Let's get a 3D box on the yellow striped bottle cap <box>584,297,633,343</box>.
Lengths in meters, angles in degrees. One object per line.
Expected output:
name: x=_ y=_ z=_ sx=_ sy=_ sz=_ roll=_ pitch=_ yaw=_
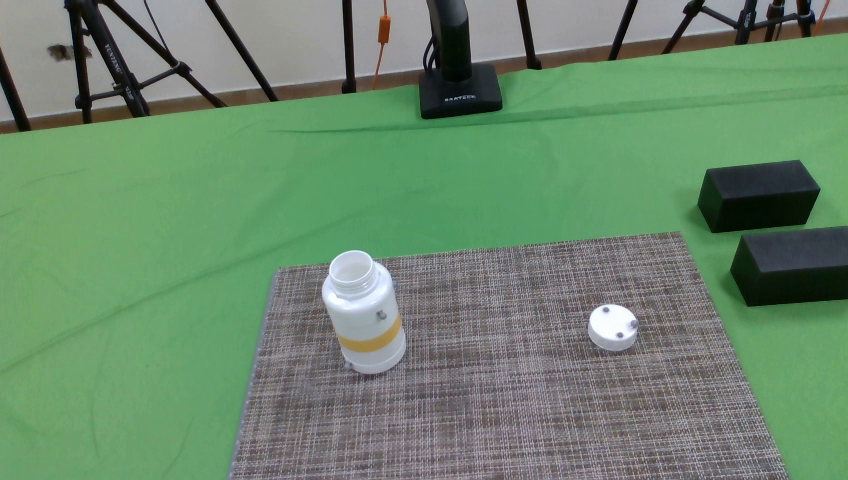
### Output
yellow striped bottle cap: x=0.176 y=0.075 z=0.576 sx=0.044 sy=0.019 sz=0.044 roll=-3 pitch=45 yaw=3

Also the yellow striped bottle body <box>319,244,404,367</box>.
yellow striped bottle body: x=-0.057 y=0.058 z=0.554 sx=0.063 sy=0.121 sz=0.062 roll=-5 pitch=45 yaw=5
